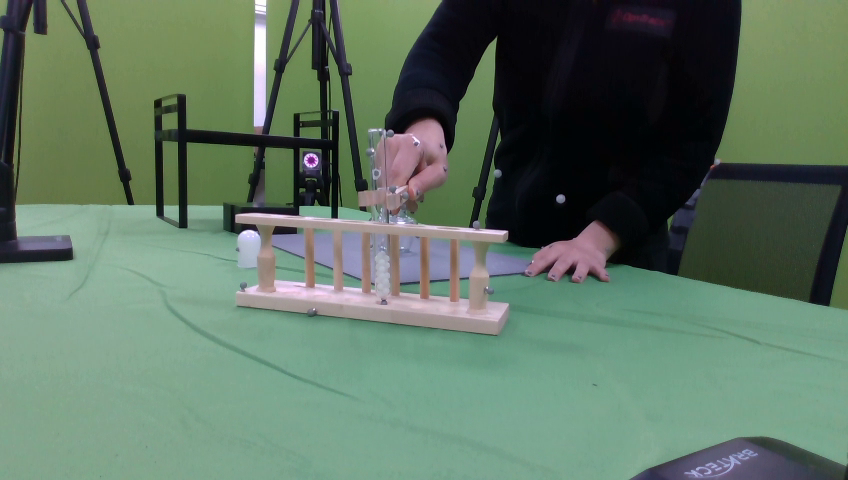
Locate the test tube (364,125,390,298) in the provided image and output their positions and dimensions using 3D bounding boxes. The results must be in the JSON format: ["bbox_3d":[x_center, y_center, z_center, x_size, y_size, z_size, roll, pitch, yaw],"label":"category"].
[{"bbox_3d":[-0.040,-0.023,0.522,0.017,0.150,0.017,-2,7,1],"label":"test tube"}]

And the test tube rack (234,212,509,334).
[{"bbox_3d":[-0.047,0.023,0.547,0.242,0.085,0.067,4,8,15],"label":"test tube rack"}]

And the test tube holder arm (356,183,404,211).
[{"bbox_3d":[-0.035,-0.041,0.561,0.010,0.015,0.088,-1,12,28],"label":"test tube holder arm"}]

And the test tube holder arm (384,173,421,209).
[{"bbox_3d":[-0.019,-0.051,0.601,0.013,0.015,0.178,-4,11,10],"label":"test tube holder arm"}]

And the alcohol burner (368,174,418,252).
[{"bbox_3d":[-0.047,-0.041,0.922,0.078,0.119,0.078,1,9,0],"label":"alcohol burner"}]

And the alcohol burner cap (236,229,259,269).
[{"bbox_3d":[-0.221,0.010,0.759,0.034,0.048,0.034,0,12,0],"label":"alcohol burner cap"}]
